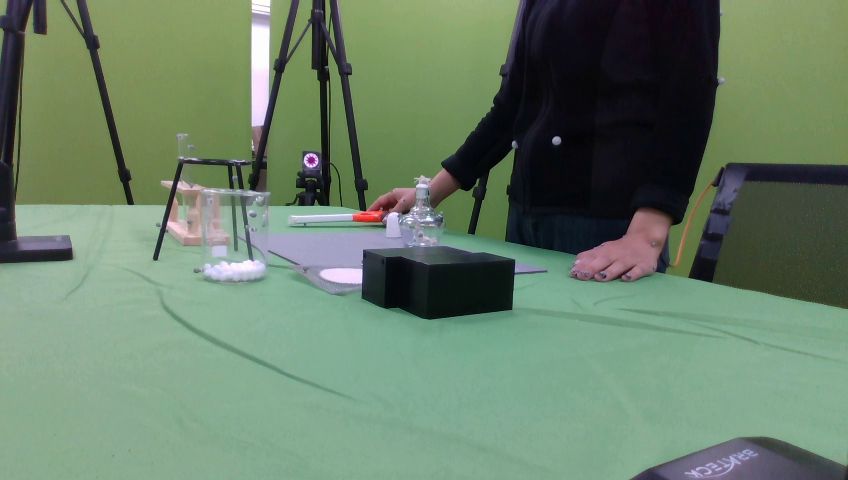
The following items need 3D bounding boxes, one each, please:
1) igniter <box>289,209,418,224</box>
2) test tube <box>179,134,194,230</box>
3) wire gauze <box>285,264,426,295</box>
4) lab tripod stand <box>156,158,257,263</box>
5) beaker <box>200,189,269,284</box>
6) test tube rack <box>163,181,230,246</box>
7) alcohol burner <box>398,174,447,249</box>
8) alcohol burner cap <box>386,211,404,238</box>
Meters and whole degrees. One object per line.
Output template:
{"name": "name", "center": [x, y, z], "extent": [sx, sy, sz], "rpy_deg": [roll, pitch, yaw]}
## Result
{"name": "igniter", "center": [-0.143, -0.049, 1.270], "extent": [0.278, 0.025, 0.057], "rpy_deg": [-3, 5, -26]}
{"name": "test tube", "center": [-0.366, -0.089, 0.938], "extent": [0.017, 0.150, 0.017], "rpy_deg": [-1, 9, 1]}
{"name": "wire gauze", "center": [-0.079, 0.039, 0.692], "extent": [0.122, 0.011, 0.124], "rpy_deg": [-4, 11, -37]}
{"name": "lab tripod stand", "center": [-0.275, -0.041, 0.797], "extent": [0.148, 0.131, 0.148], "rpy_deg": [2, 9, 0]}
{"name": "beaker", "center": [-0.209, -0.006, 0.676], "extent": [0.073, 0.100, 0.084], "rpy_deg": [7, 8, 28]}
{"name": "test tube rack", "center": [-0.387, -0.050, 1.015], "extent": [0.067, 0.085, 0.241], "rpy_deg": [-2, 9, -30]}
{"name": "alcohol burner", "center": [-0.003, -0.046, 0.973], "extent": [0.078, 0.119, 0.078], "rpy_deg": [0, 7, 0]}
{"name": "alcohol burner cap", "center": [-0.053, -0.029, 1.107], "extent": [0.034, 0.048, 0.034], "rpy_deg": [2, 8, 0]}
